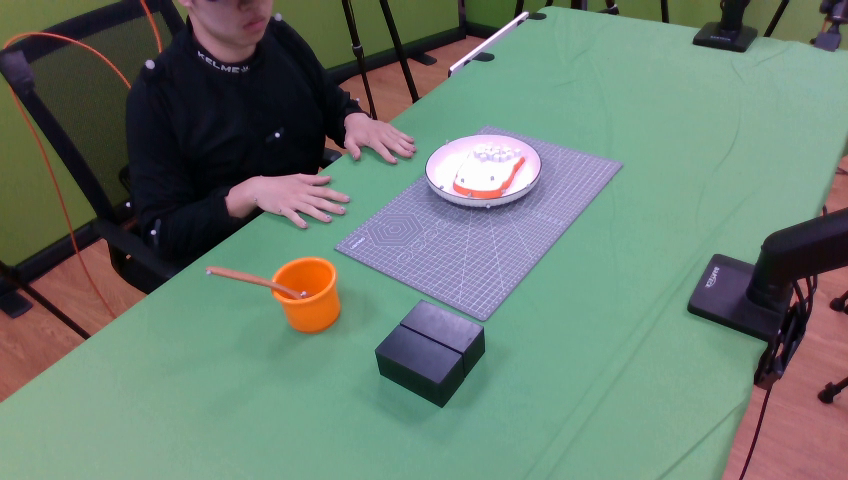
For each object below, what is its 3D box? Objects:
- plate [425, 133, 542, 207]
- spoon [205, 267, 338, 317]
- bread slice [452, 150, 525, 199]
[{"bbox_3d":[0.106,-0.121,1.079,0.209,0.038,0.208,-4,41,4],"label":"plate"},{"bbox_3d":[-0.202,0.067,0.822,0.021,0.195,0.041,-45,38,24],"label":"spoon"},{"bbox_3d":[0.112,-0.118,1.079,0.104,0.019,0.131,11,42,21],"label":"bread slice"}]
